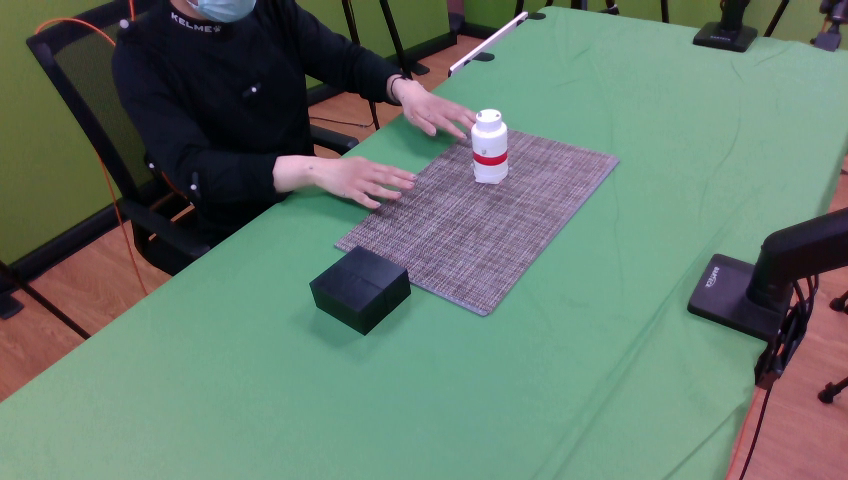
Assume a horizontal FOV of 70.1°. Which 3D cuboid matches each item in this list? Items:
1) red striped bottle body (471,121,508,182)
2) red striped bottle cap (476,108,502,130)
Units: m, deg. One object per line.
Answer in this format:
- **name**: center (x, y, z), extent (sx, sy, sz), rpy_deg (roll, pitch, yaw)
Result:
- **red striped bottle body**: center (0.116, -0.167, 1.064), extent (0.063, 0.120, 0.062), rpy_deg (-4, 41, 4)
- **red striped bottle cap**: center (0.110, -0.206, 1.030), extent (0.044, 0.018, 0.044), rpy_deg (-5, 44, 5)
